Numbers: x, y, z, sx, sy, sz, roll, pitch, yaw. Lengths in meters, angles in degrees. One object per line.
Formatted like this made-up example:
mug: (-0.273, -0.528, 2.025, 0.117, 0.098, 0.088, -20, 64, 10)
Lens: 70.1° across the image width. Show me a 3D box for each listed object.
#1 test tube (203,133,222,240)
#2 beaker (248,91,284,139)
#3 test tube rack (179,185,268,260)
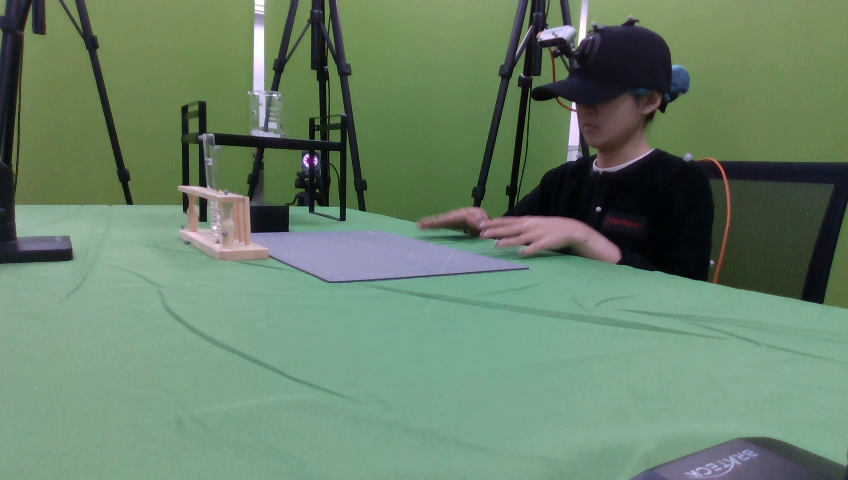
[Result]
test tube: (-0.296, -0.075, 0.849, 0.017, 0.150, 0.017, -2, 6, 1)
beaker: (-0.353, -0.277, 1.343, 0.073, 0.100, 0.084, 8, 9, 39)
test tube rack: (-0.303, -0.032, 0.898, 0.067, 0.085, 0.241, -2, 9, -33)
